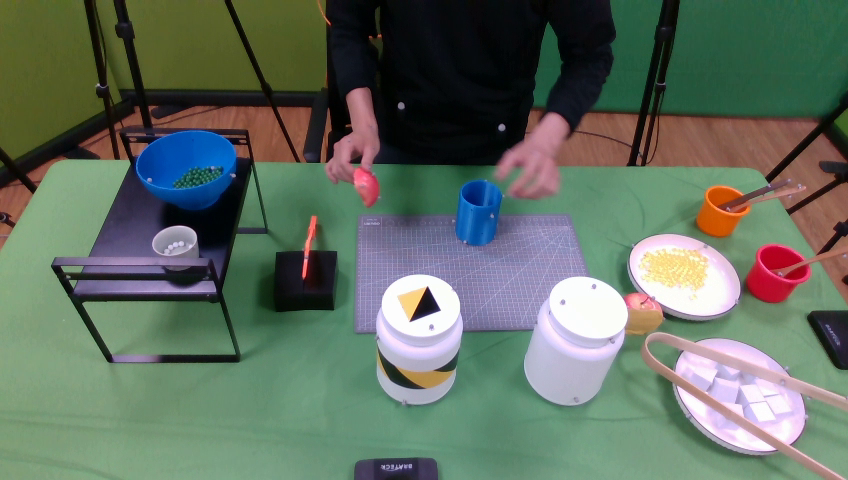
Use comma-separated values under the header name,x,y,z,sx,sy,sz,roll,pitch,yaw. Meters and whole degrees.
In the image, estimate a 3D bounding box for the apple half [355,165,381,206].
name,x,y,z,sx,sy,sz,roll,pitch,yaw
apple half,-0.097,-0.106,1.112,0.033,0.082,0.081,-14,44,16

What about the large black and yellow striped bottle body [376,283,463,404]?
name,x,y,z,sx,sy,sz,roll,pitch,yaw
large black and yellow striped bottle body,-0.010,0.155,0.937,0.131,0.185,0.130,2,47,-2

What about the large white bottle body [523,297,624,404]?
name,x,y,z,sx,sy,sz,roll,pitch,yaw
large white bottle body,0.235,0.159,0.952,0.131,0.185,0.130,2,47,-2

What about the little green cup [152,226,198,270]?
name,x,y,z,sx,sy,sz,roll,pitch,yaw
little green cup,-0.364,0.013,0.894,0.061,0.039,0.061,3,46,-3

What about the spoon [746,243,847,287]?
name,x,y,z,sx,sy,sz,roll,pitch,yaw
spoon,0.702,0.044,1.126,0.194,0.022,0.041,-29,38,30

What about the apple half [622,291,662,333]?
name,x,y,z,sx,sy,sz,roll,pitch,yaw
apple half,0.372,0.123,1.074,0.081,0.075,0.053,0,43,2

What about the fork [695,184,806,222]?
name,x,y,z,sx,sy,sz,roll,pitch,yaw
fork,0.658,-0.074,1.230,0.207,0.019,0.028,-24,34,36

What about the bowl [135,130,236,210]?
name,x,y,z,sx,sy,sz,roll,pitch,yaw
bowl,-0.375,-0.102,0.978,0.151,0.077,0.150,2,46,-2

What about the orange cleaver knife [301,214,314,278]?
name,x,y,z,sx,sy,sz,roll,pitch,yaw
orange cleaver knife,-0.218,0.008,1.131,0.012,0.077,0.210,7,19,-9

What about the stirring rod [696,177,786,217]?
name,x,y,z,sx,sy,sz,roll,pitch,yaw
stirring rod,0.648,-0.087,1.244,0.176,0.006,0.014,-25,50,29

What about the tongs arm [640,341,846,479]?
name,x,y,z,sx,sy,sz,roll,pitch,yaw
tongs arm,0.500,0.278,0.920,0.386,0.028,0.028,34,60,22

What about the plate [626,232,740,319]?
name,x,y,z,sx,sy,sz,roll,pitch,yaw
plate,0.488,0.070,1.157,0.209,0.038,0.208,3,46,-3

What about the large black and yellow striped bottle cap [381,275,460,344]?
name,x,y,z,sx,sy,sz,roll,pitch,yaw
large black and yellow striped bottle cap,-0.005,0.098,0.875,0.115,0.019,0.114,2,45,-1

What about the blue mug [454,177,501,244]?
name,x,y,z,sx,sy,sz,roll,pitch,yaw
blue mug,0.106,-0.067,1.208,0.082,0.106,0.116,6,46,1

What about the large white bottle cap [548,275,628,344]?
name,x,y,z,sx,sy,sz,roll,pitch,yaw
large white bottle cap,0.240,0.100,0.890,0.115,0.018,0.114,3,47,-3

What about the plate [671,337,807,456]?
name,x,y,z,sx,sy,sz,roll,pitch,yaw
plate,0.504,0.254,0.984,0.208,0.039,0.206,2,46,-2

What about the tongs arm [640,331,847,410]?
name,x,y,z,sx,sy,sz,roll,pitch,yaw
tongs arm,0.543,0.226,0.969,0.384,0.026,0.050,22,53,13
